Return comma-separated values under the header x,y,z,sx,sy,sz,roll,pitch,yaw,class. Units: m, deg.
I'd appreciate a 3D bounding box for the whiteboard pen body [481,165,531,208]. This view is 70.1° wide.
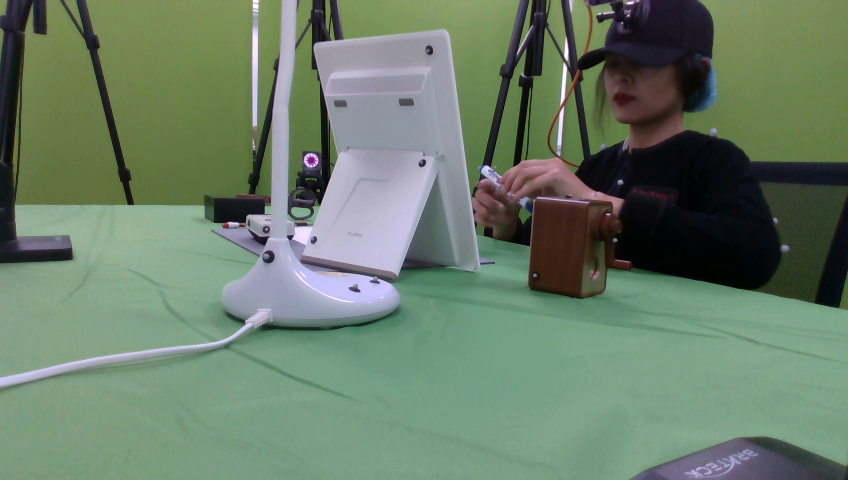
x,y,z,sx,sy,sz,roll,pitch,yaw,class
0.134,-0.080,0.944,0.017,0.017,0.140,-3,35,-37,whiteboard pen body

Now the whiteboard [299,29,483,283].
x,y,z,sx,sy,sz,roll,pitch,yaw,class
-0.074,-0.082,0.742,0.216,0.305,0.144,9,29,37,whiteboard

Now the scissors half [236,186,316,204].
x,y,z,sx,sy,sz,roll,pitch,yaw,class
-0.320,-0.097,1.316,0.176,0.040,0.013,-4,13,-29,scissors half

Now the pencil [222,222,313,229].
x,y,z,sx,sy,sz,roll,pitch,yaw,class
-0.302,-0.030,1.189,0.195,0.012,0.012,-2,9,-42,pencil

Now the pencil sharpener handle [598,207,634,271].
x,y,z,sx,sy,sz,roll,pitch,yaw,class
0.208,0.000,0.645,0.030,0.068,0.036,10,22,42,pencil sharpener handle

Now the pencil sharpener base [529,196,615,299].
x,y,z,sx,sy,sz,roll,pitch,yaw,class
0.168,0.007,0.678,0.076,0.107,0.062,10,10,42,pencil sharpener base

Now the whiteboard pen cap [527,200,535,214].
x,y,z,sx,sy,sz,roll,pitch,yaw,class
0.168,-0.047,0.908,0.018,0.018,0.033,-4,37,-38,whiteboard pen cap

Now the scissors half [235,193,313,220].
x,y,z,sx,sy,sz,roll,pitch,yaw,class
-0.325,-0.077,1.320,0.176,0.040,0.012,17,8,-32,scissors half

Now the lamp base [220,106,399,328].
x,y,z,sx,sy,sz,roll,pitch,yaw,class
-0.101,-0.023,0.531,0.160,0.180,0.179,4,10,10,lamp base

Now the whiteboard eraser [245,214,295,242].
x,y,z,sx,sy,sz,roll,pitch,yaw,class
-0.247,-0.018,0.965,0.056,0.042,0.112,0,8,-28,whiteboard eraser
